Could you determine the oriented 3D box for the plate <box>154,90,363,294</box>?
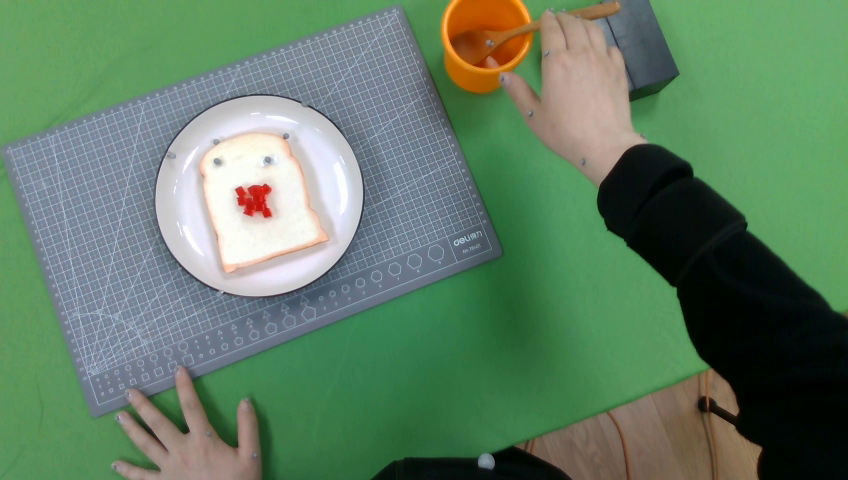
[{"bbox_3d":[-0.165,-0.048,0.622,0.209,0.038,0.208,0,84,-3],"label":"plate"}]

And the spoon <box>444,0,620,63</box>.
[{"bbox_3d":[0.099,-0.210,0.599,0.022,0.192,0.041,14,79,-46],"label":"spoon"}]

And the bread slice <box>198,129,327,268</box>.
[{"bbox_3d":[-0.173,-0.047,0.622,0.107,0.018,0.134,-21,85,-6],"label":"bread slice"}]
